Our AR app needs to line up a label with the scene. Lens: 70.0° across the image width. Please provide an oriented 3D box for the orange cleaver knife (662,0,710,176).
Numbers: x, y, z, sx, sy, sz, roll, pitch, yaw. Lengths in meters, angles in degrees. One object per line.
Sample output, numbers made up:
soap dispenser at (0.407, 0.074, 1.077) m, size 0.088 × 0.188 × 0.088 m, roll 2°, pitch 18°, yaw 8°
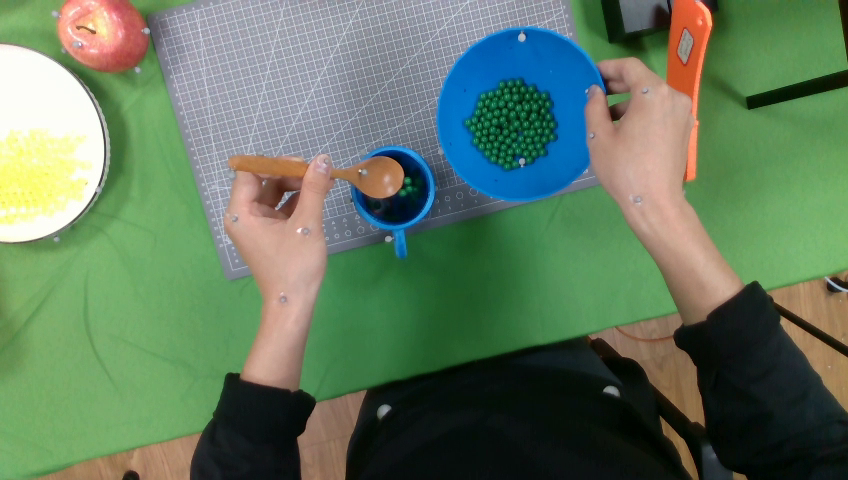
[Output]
orange cleaver knife at (0.276, -0.169, 0.648) m, size 0.012 × 0.076 × 0.213 m, roll -17°, pitch 127°, yaw -3°

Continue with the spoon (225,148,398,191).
spoon at (-0.086, -0.064, 0.517) m, size 0.021 × 0.195 × 0.042 m, roll 24°, pitch 105°, yaw 29°

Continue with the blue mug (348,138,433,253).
blue mug at (-0.032, -0.045, 0.636) m, size 0.082 × 0.105 × 0.117 m, roll -7°, pitch 97°, yaw -2°

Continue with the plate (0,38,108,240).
plate at (-0.439, -0.105, 0.643) m, size 0.209 × 0.038 × 0.209 m, roll 0°, pitch 97°, yaw -3°

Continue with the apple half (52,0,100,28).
apple half at (-0.342, -0.238, 0.615) m, size 0.081 × 0.081 × 0.033 m, roll -29°, pitch 102°, yaw 1°

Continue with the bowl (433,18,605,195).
bowl at (0.090, -0.120, 0.563) m, size 0.151 × 0.077 × 0.152 m, roll 2°, pitch 100°, yaw 14°

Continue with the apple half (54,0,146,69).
apple half at (-0.322, -0.205, 0.621) m, size 0.081 × 0.074 × 0.053 m, roll -30°, pitch 101°, yaw -3°
